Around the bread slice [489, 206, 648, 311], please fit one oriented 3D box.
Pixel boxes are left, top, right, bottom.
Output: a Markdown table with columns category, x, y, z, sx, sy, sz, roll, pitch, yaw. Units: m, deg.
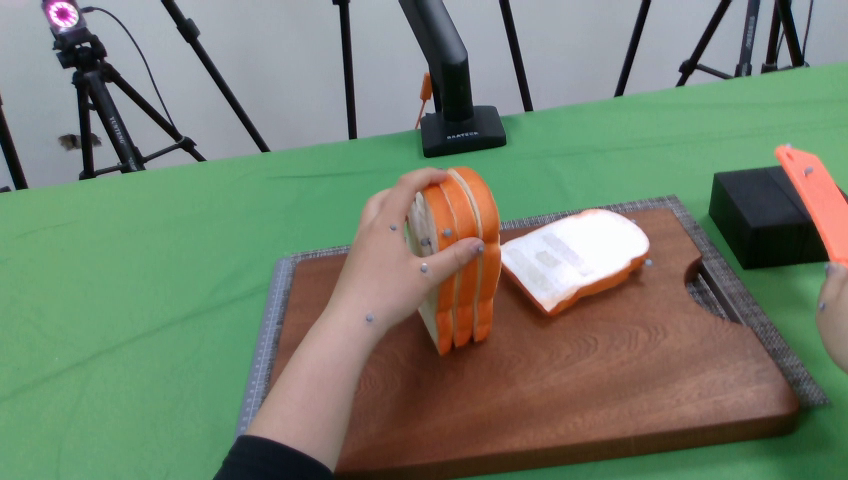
| category | x | y | z | sx | sy | sz | roll | pitch | yaw |
| --- | --- | --- | --- | --- | --- | --- | --- | --- | --- |
| bread slice | 0.143 | 0.012 | 0.573 | 0.131 | 0.019 | 0.103 | -23 | 36 | -10 |

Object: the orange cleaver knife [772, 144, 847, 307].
| category | x | y | z | sx | sy | sz | roll | pitch | yaw |
| --- | --- | --- | --- | --- | --- | --- | --- | --- | --- |
| orange cleaver knife | 0.331 | -0.003 | 0.481 | 0.077 | 0.012 | 0.209 | 20 | 48 | -17 |

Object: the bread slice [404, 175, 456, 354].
| category | x | y | z | sx | sy | sz | roll | pitch | yaw |
| --- | --- | --- | --- | --- | --- | --- | --- | --- | --- |
| bread slice | 0.003 | 0.012 | 0.522 | 0.018 | 0.135 | 0.106 | -9 | 32 | -14 |
